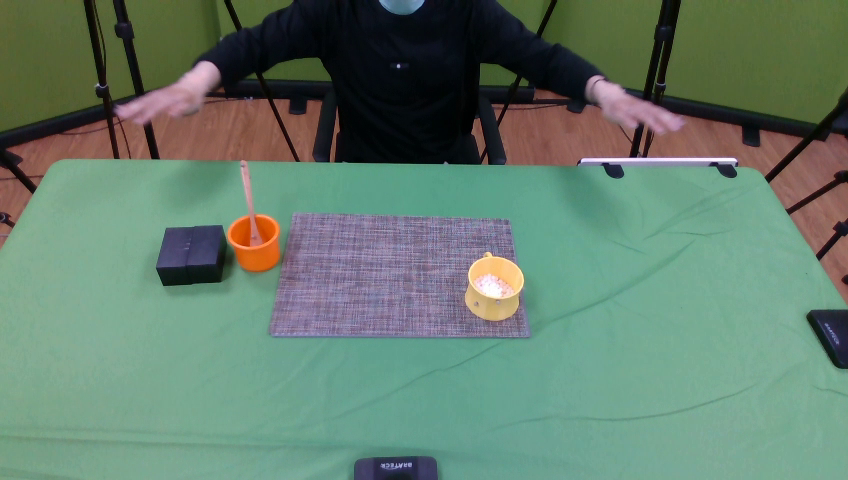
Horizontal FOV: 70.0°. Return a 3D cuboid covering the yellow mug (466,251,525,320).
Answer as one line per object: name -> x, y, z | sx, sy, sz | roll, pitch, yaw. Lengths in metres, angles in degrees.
yellow mug -> 0.125, 0.074, 1.096 | 0.100, 0.064, 0.130 | -4, 45, -7

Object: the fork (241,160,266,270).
fork -> -0.320, -0.047, 1.130 | 0.028, 0.018, 0.207 | -9, 91, -3
